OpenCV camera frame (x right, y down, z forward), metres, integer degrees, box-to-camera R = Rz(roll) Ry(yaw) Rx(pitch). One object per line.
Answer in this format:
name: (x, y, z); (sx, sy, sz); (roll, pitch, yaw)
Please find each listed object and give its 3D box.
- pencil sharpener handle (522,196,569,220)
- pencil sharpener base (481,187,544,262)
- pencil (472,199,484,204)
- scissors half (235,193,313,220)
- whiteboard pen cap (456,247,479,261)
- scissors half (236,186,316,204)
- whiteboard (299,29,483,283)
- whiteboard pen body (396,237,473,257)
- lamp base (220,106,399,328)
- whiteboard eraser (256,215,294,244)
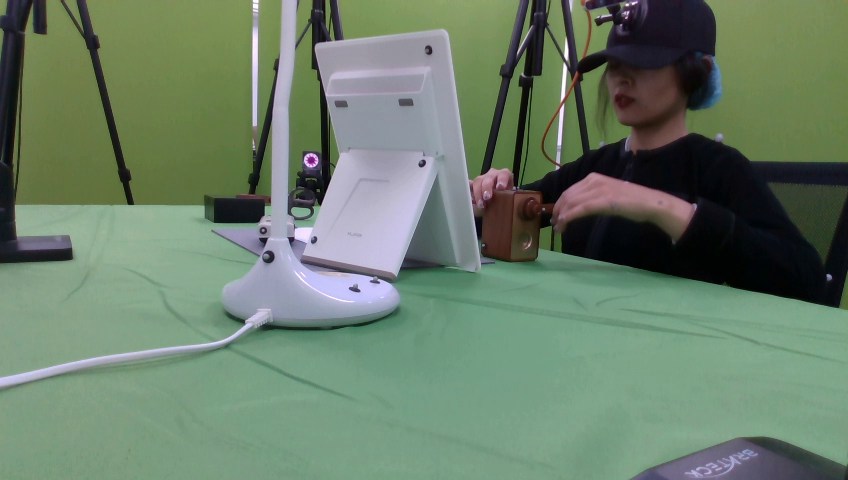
pencil sharpener handle: (0.177, -0.047, 0.876); (0.068, 0.036, 0.030); (-10, 13, -33)
pencil sharpener base: (0.134, -0.024, 0.913); (0.062, 0.107, 0.076); (-2, 9, -35)
pencil: (0.093, -0.062, 0.976); (0.012, 0.012, 0.193); (-3, 8, -35)
scissors half: (-0.325, -0.077, 1.319); (0.176, 0.040, 0.012); (17, 6, -32)
whiteboard pen cap: (0.060, 0.020, 0.851); (0.033, 0.018, 0.018); (10, 11, 37)
scissors half: (-0.320, -0.097, 1.316); (0.176, 0.040, 0.013); (-3, 11, -29)
whiteboard: (-0.074, -0.082, 0.742); (0.216, 0.305, 0.144); (9, 30, 38)
whiteboard pen body: (0.014, 0.012, 0.886); (0.140, 0.017, 0.017); (10, 10, 38)
lamp base: (-0.101, -0.023, 0.531); (0.160, 0.180, 0.179); (4, 10, 10)
whiteboard eraser: (-0.232, -0.016, 0.951); (0.056, 0.042, 0.112); (2, 7, -12)
